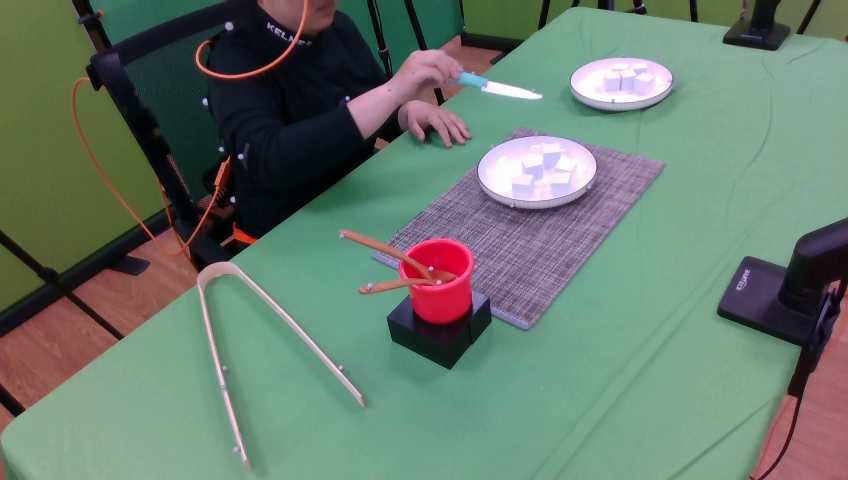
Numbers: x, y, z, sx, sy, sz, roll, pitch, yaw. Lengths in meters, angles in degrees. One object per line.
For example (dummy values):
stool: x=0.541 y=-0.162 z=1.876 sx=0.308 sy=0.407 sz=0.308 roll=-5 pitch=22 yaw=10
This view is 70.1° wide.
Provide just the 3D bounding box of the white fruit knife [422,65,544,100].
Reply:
white fruit knife: x=0.101 y=-0.263 z=1.015 sx=0.208 sy=0.016 sz=0.027 roll=13 pitch=67 yaw=-2

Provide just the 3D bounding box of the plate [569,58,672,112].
plate: x=0.411 y=-0.323 z=1.274 sx=0.209 sy=0.038 sz=0.208 roll=-5 pitch=41 yaw=5

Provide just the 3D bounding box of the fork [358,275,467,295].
fork: x=-0.009 y=0.056 z=0.739 sx=0.028 sy=0.018 sz=0.209 roll=48 pitch=23 yaw=26

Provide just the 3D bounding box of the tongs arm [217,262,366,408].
tongs arm: x=-0.200 y=0.123 z=0.871 sx=0.028 sy=0.028 sz=0.384 roll=-35 pitch=46 yaw=-25

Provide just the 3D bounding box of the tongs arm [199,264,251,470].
tongs arm: x=-0.270 y=0.154 z=0.841 sx=0.051 sy=0.026 sz=0.381 roll=-23 pitch=40 yaw=-17

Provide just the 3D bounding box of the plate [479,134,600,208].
plate: x=0.202 y=-0.117 z=1.065 sx=0.207 sy=0.039 sz=0.206 roll=-5 pitch=40 yaw=5

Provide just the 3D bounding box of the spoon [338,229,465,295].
spoon: x=-0.025 y=0.026 z=0.776 sx=0.021 sy=0.195 sz=0.041 roll=-41 pitch=34 yaw=32
